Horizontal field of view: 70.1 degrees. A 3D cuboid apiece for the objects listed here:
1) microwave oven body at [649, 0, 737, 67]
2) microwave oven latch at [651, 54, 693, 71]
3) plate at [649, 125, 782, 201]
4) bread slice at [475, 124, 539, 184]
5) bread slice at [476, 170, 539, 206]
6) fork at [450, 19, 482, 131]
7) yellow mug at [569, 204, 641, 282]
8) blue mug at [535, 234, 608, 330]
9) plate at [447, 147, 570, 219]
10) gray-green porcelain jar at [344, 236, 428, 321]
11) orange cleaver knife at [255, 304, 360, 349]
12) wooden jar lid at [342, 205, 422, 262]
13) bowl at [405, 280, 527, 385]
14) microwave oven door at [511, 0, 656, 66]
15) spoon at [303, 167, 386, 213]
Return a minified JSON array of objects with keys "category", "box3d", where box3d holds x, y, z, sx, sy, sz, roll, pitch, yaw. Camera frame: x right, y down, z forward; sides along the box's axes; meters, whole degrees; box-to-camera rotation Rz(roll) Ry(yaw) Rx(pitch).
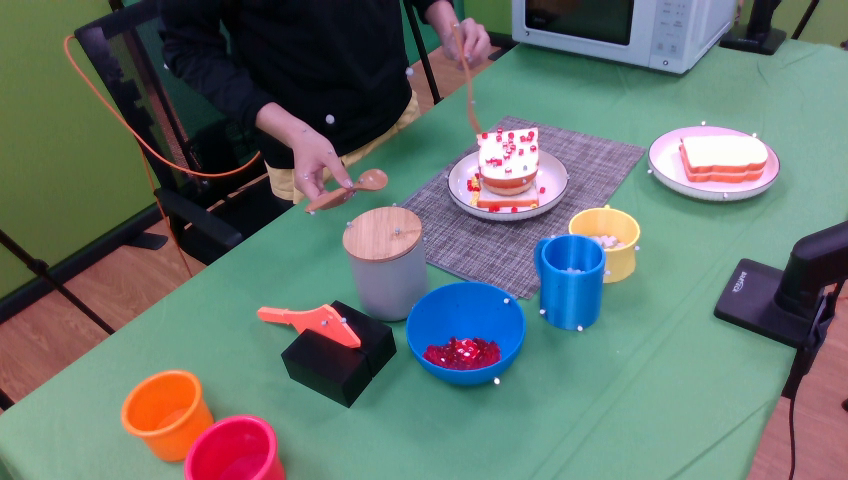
[{"category":"microwave oven body","box3d":[0.475,-0.602,1.411,0.438,0.261,0.327,23,50,32]},{"category":"microwave oven latch","box3d":[0.532,-0.386,1.301,0.078,0.029,0.030,26,52,34]},{"category":"plate","box3d":[0.493,-0.128,1.036,0.207,0.039,0.206,-4,41,4]},{"category":"bread slice","box3d":[0.143,-0.144,1.009,0.107,0.018,0.133,-7,46,7]},{"category":"bread slice","box3d":[0.144,-0.105,1.057,0.105,0.019,0.131,0,41,6]},{"category":"fork","box3d":[0.075,-0.287,1.070,0.018,0.208,0.028,2,35,26]},{"category":"yellow mug","box3d":[0.268,-0.005,0.904,0.099,0.064,0.130,7,41,15]},{"category":"blue mug","box3d":[0.191,0.048,0.824,0.082,0.106,0.115,-26,44,-21]},{"category":"plate","box3d":[0.145,-0.098,1.046,0.209,0.038,0.208,-4,40,4]},{"category":"gray-green porcelain jar","box3d":[-0.049,0.042,0.849,0.106,0.127,0.105,-4,41,4]},{"category":"orange cleaver knife","box3d":[-0.161,0.115,0.813,0.210,0.077,0.012,-4,32,47]},{"category":"wooden jar lid","box3d":[-0.055,-0.006,0.808,0.108,0.021,0.108,-6,41,6]},{"category":"bowl","box3d":[0.055,0.131,0.767,0.151,0.077,0.150,-4,40,4]},{"category":"microwave oven door","box3d":[0.351,-0.539,1.349,0.353,0.245,0.039,24,50,31]},{"category":"spoon","box3d":[-0.116,-0.076,0.897,0.041,0.021,0.194,40,32,11]}]
